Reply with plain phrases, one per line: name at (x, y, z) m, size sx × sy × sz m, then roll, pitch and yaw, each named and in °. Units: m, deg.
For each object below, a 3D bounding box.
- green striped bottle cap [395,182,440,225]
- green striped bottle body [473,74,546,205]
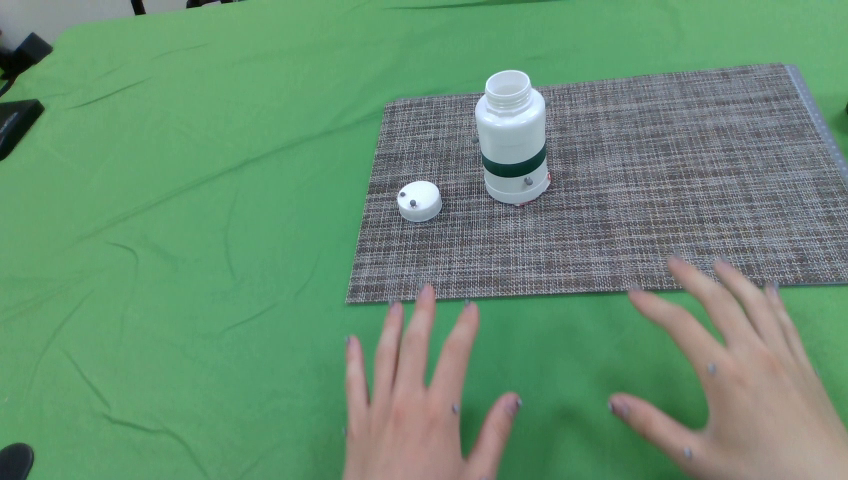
green striped bottle cap at (-0.006, -0.037, 0.608) m, size 0.044 × 0.020 × 0.044 m, roll -5°, pitch 48°, yaw 6°
green striped bottle body at (0.080, -0.094, 0.566) m, size 0.063 × 0.120 × 0.062 m, roll -7°, pitch 48°, yaw 8°
